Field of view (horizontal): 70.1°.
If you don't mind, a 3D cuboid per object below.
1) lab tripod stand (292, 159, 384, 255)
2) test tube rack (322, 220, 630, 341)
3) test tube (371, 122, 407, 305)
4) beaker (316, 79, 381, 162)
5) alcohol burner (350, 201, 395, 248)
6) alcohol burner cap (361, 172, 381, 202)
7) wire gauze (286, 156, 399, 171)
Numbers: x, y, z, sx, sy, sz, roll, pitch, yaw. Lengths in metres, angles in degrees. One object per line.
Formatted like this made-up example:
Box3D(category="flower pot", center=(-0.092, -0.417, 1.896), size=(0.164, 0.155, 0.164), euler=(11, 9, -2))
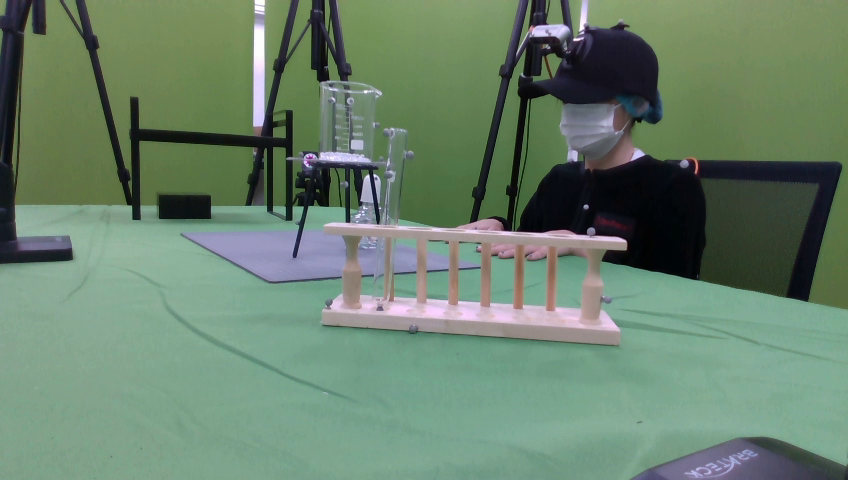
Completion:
Box3D(category="lab tripod stand", center=(-0.105, -0.039, 0.797), size=(0.148, 0.131, 0.148), euler=(2, 5, 0))
Box3D(category="test tube rack", center=(0.041, 0.029, 0.512), size=(0.242, 0.085, 0.067), euler=(3, 7, 5))
Box3D(category="test tube", center=(-0.029, -0.020, 0.493), size=(0.017, 0.150, 0.017), euler=(6, 9, -1))
Box3D(category="beaker", center=(-0.098, -0.151, 0.778), size=(0.084, 0.100, 0.074), euler=(4, 7, 6))
Box3D(category="alcohol burner", center=(-0.084, -0.048, 0.953), size=(0.078, 0.119, 0.078), euler=(1, 6, 0))
Box3D(category="alcohol burner cap", center=(-0.081, -0.083, 0.949), size=(0.034, 0.048, 0.034), euler=(7, 7, -1))
Box3D(category="wire gauze", center=(-0.101, -0.103, 0.788), size=(0.121, 0.011, 0.125), euler=(6, 4, 5))
